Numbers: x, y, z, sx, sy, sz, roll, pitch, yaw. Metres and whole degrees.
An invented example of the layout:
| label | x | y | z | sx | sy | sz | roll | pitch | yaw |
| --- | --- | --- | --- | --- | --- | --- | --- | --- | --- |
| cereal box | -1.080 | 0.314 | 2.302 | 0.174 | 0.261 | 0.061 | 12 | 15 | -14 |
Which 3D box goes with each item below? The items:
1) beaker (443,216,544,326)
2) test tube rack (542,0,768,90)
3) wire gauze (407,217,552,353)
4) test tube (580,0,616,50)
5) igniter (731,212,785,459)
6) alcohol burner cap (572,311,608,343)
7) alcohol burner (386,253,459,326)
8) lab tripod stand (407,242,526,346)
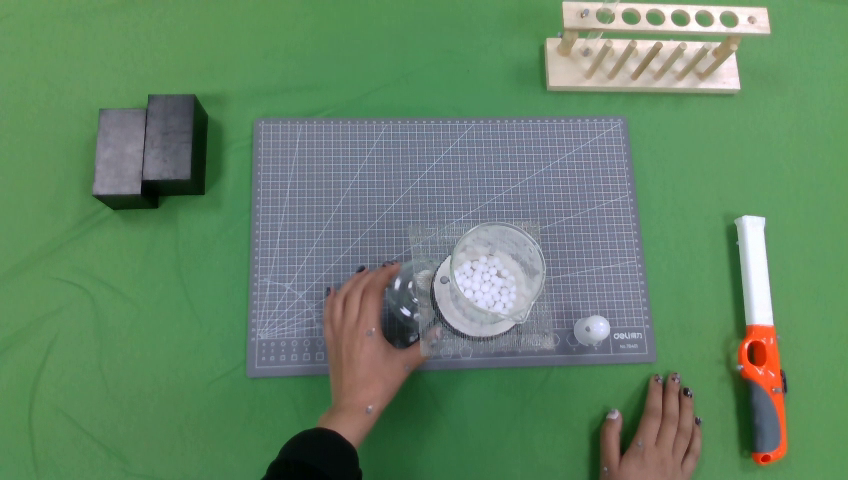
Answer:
| label | x | y | z | sx | sy | sz | roll | pitch | yaw |
| --- | --- | --- | --- | --- | --- | --- | --- | --- | --- |
| beaker | 0.054 | 0.034 | 0.504 | 0.074 | 0.100 | 0.083 | -24 | 78 | -8 |
| test tube rack | 0.273 | -0.232 | 0.728 | 0.242 | 0.085 | 0.066 | 0 | 76 | -4 |
| wire gauze | 0.050 | 0.039 | 0.552 | 0.125 | 0.011 | 0.121 | -4 | 75 | -2 |
| test tube | 0.204 | -0.263 | 0.679 | 0.017 | 0.151 | 0.017 | 1 | 72 | -3 |
| igniter | 0.376 | 0.102 | 0.685 | 0.057 | 0.025 | 0.275 | 5 | 76 | -13 |
| alcohol burner cap | 0.184 | 0.094 | 0.663 | 0.034 | 0.048 | 0.033 | 1 | 75 | -2 |
| alcohol burner | -0.001 | 0.048 | 0.625 | 0.078 | 0.119 | 0.077 | 1 | 74 | -4 |
| lab tripod stand | 0.044 | 0.058 | 0.615 | 0.148 | 0.132 | 0.147 | 1 | 75 | -2 |
